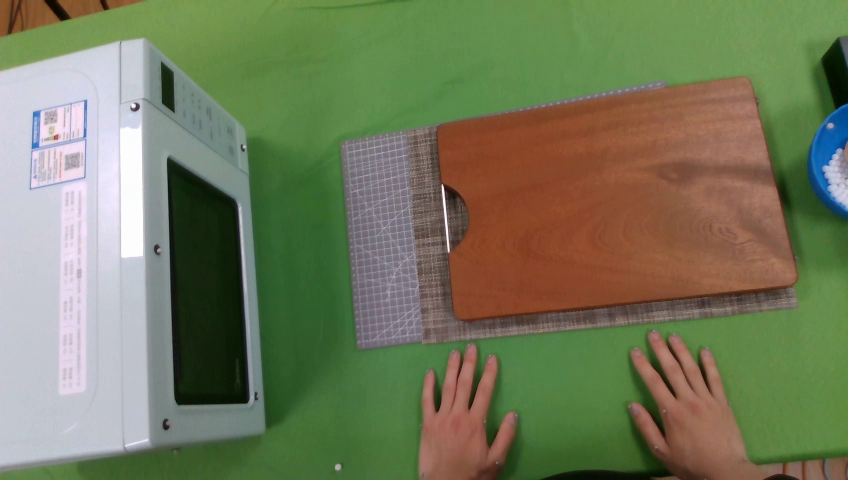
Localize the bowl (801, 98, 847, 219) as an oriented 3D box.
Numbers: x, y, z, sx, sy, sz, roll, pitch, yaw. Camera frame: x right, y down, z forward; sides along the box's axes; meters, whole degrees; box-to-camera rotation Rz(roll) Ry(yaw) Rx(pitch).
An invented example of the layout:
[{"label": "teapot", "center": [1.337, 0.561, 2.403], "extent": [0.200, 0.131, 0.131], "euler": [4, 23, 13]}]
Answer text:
[{"label": "bowl", "center": [0.505, -0.083, 0.695], "extent": [0.151, 0.077, 0.150], "euler": [-2, 77, 10]}]

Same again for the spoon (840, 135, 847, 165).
[{"label": "spoon", "center": [0.507, -0.044, 0.654], "extent": [0.041, 0.022, 0.191], "euler": [-9, 52, 6]}]

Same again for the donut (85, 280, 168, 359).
[{"label": "donut", "center": [-0.369, 0.098, 0.751], "extent": [0.099, 0.048, 0.099], "euler": [0, 91, -1]}]

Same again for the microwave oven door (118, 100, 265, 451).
[{"label": "microwave oven door", "center": [-0.265, 0.050, 0.704], "extent": [0.039, 0.245, 0.353], "euler": [-11, 75, 8]}]

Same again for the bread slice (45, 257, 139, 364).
[{"label": "bread slice", "center": [-0.390, 0.091, 0.708], "extent": [0.134, 0.018, 0.106], "euler": [-20, 75, 19]}]

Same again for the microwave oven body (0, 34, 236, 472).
[{"label": "microwave oven body", "center": [-0.412, 0.038, 0.740], "extent": [0.326, 0.262, 0.439], "euler": [-10, 76, 8]}]

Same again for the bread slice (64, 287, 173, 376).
[{"label": "bread slice", "center": [-0.397, 0.113, 0.778], "extent": [0.131, 0.019, 0.104], "euler": [8, 82, 7]}]

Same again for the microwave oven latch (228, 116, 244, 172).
[{"label": "microwave oven latch", "center": [-0.274, -0.134, 0.856], "extent": [0.030, 0.030, 0.078], "euler": [-11, 76, 7]}]
